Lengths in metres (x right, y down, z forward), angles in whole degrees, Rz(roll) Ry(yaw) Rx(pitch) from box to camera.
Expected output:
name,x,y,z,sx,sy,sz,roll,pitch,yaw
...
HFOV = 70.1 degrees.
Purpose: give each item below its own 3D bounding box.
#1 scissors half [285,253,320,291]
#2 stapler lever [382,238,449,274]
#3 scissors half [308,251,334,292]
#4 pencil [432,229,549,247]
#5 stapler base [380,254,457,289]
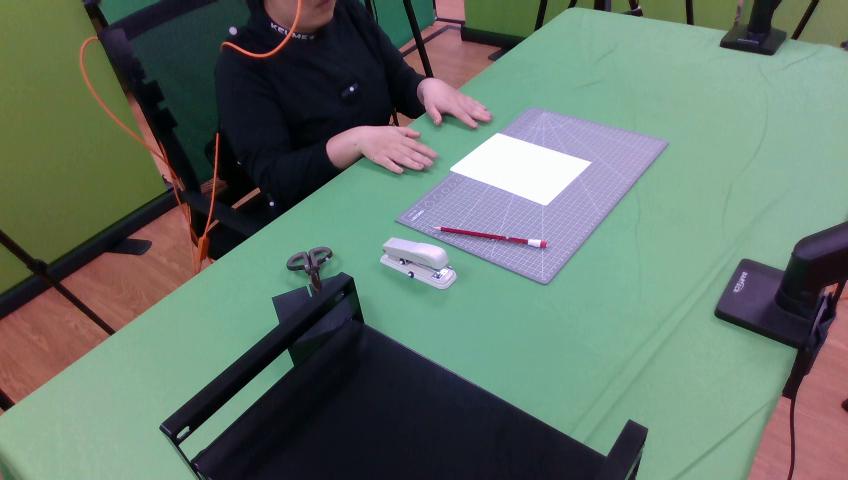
name,x,y,z,sx,sy,sz,roll,pitch,yaw
scissors half,-0.179,0.049,0.909,0.040,0.013,0.174,-15,19,-20
stapler lever,-0.014,0.018,0.919,0.117,0.040,0.027,21,45,31
scissors half,-0.159,0.046,0.913,0.040,0.013,0.174,-4,17,-5
pencil,0.103,-0.005,0.970,0.193,0.012,0.012,7,42,18
stapler base,-0.010,0.037,0.934,0.129,0.024,0.041,20,45,31
